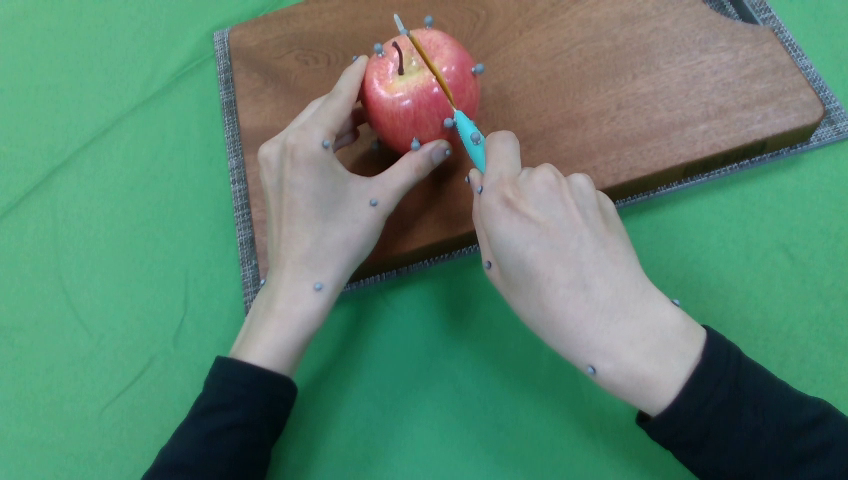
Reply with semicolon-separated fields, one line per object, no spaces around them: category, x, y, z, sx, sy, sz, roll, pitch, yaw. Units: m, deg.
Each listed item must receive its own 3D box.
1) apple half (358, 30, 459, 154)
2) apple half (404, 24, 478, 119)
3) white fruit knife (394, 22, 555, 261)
apple half;-0.015;-0.094;0.418;0.053;0.075;0.080;-32;66;1
apple half;0.019;-0.114;0.419;0.033;0.082;0.080;-30;63;-2
white fruit knife;0.025;-0.074;0.390;0.016;0.027;0.205;-30;65;0
